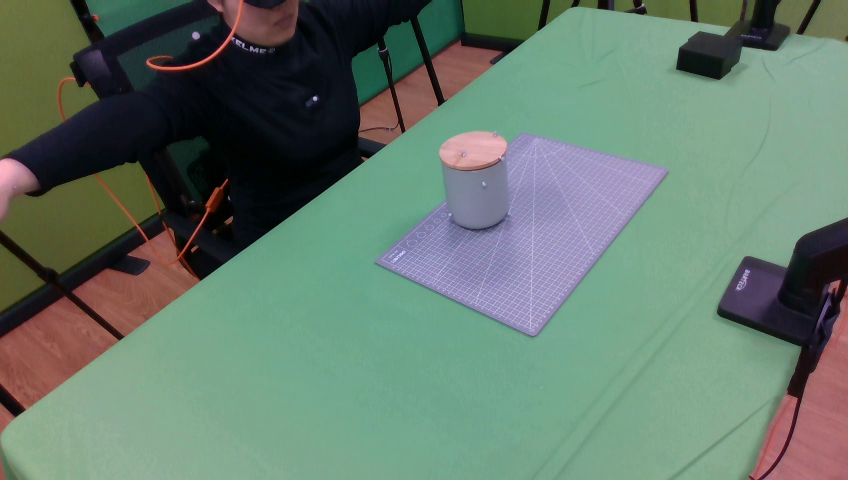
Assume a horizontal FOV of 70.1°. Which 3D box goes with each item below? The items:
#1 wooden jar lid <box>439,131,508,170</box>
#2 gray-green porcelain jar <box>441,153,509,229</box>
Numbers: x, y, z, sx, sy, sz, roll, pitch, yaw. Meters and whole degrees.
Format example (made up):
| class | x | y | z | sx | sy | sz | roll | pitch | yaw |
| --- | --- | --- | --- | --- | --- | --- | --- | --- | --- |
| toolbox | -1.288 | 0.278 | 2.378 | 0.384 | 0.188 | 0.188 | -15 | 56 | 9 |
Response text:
| class | x | y | z | sx | sy | sz | roll | pitch | yaw |
| --- | --- | --- | --- | --- | --- | --- | --- | --- | --- |
| wooden jar lid | 0.078 | -0.136 | 0.948 | 0.108 | 0.021 | 0.108 | -5 | 38 | 5 |
| gray-green porcelain jar | 0.086 | -0.090 | 0.988 | 0.106 | 0.127 | 0.105 | -5 | 40 | 5 |
